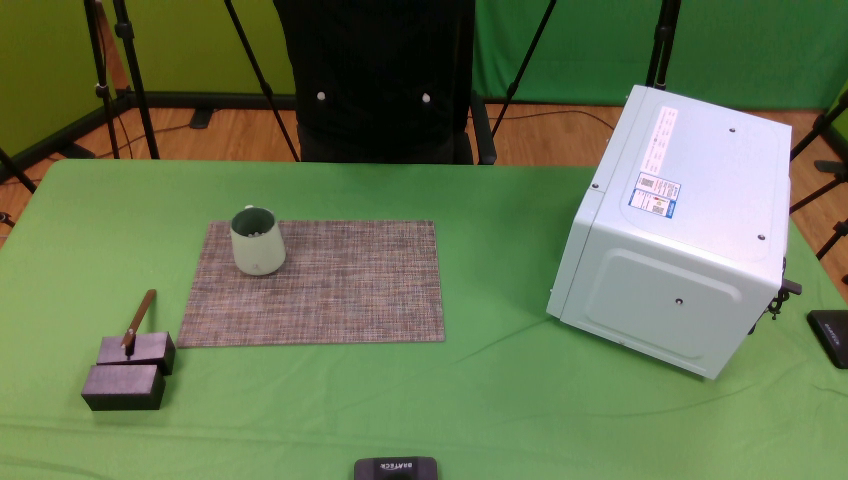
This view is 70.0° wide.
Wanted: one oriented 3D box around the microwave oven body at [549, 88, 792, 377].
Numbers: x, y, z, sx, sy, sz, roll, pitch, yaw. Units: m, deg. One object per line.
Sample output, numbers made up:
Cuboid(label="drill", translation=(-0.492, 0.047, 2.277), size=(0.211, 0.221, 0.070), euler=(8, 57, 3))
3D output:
Cuboid(label="microwave oven body", translation=(0.456, -0.028, 1.088), size=(0.325, 0.261, 0.440), euler=(20, 47, 16))

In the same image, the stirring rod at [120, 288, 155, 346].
Cuboid(label="stirring rod", translation=(-0.474, 0.125, 1.008), size=(0.014, 0.006, 0.175), euler=(-5, 26, -8))

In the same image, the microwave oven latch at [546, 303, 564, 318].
Cuboid(label="microwave oven latch", translation=(0.242, 0.102, 1.081), size=(0.030, 0.029, 0.079), euler=(21, 48, 17))

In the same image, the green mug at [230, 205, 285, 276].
Cuboid(label="green mug", translation=(-0.311, -0.008, 1.118), size=(0.092, 0.105, 0.124), euler=(-14, 48, -16))

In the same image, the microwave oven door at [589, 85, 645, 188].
Cuboid(label="microwave oven door", translation=(0.342, -0.107, 1.149), size=(0.039, 0.245, 0.354), euler=(20, 48, 15))
